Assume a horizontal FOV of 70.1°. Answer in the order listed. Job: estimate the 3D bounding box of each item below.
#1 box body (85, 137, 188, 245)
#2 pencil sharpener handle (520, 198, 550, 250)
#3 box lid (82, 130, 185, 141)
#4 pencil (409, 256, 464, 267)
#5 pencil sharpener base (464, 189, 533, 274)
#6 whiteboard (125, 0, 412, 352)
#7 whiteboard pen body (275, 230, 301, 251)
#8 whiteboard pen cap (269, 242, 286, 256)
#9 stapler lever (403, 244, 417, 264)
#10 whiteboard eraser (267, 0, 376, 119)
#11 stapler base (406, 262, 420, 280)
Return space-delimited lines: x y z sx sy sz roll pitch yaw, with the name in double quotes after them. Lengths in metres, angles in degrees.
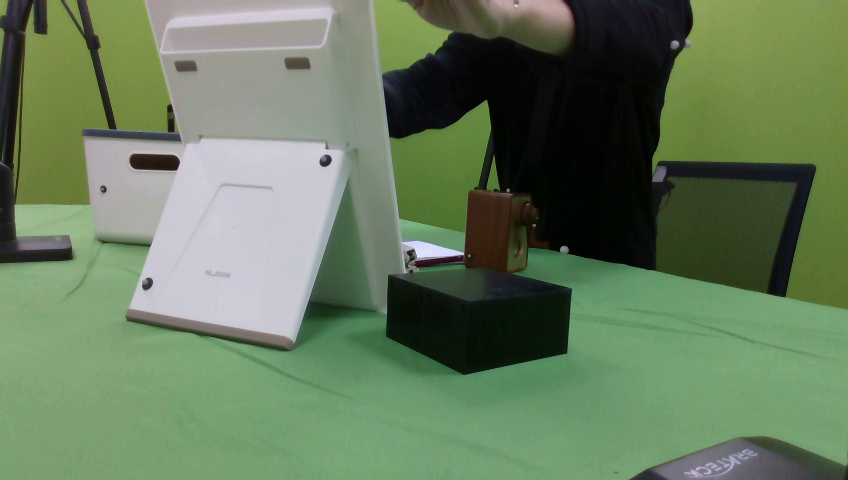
-0.340 -0.088 1.022 0.254 0.160 0.364 4 7 11 "box body"
0.147 -0.020 0.785 0.030 0.068 0.036 8 24 36 "pencil sharpener handle"
-0.337 -0.161 1.011 0.263 0.015 0.372 4 7 11 "box lid"
0.041 0.028 0.849 0.012 0.012 0.195 10 10 43 "pencil"
0.103 -0.012 0.812 0.076 0.107 0.061 8 9 36 "pencil sharpener base"
-0.151 -0.050 0.471 0.216 0.305 0.144 6 27 24 "whiteboard"
-0.203 0.002 0.894 0.017 0.017 0.140 2 9 -1 "whiteboard pen body"
-0.202 0.012 0.836 0.018 0.018 0.033 2 8 0 "whiteboard pen cap"
-0.066 0.003 0.754 0.117 0.040 0.027 9 14 23 "stapler lever"
-0.093 -0.156 0.528 0.112 0.056 0.042 -39 14 44 "whiteboard eraser"
-0.069 0.027 0.759 0.130 0.024 0.041 10 14 23 "stapler base"
